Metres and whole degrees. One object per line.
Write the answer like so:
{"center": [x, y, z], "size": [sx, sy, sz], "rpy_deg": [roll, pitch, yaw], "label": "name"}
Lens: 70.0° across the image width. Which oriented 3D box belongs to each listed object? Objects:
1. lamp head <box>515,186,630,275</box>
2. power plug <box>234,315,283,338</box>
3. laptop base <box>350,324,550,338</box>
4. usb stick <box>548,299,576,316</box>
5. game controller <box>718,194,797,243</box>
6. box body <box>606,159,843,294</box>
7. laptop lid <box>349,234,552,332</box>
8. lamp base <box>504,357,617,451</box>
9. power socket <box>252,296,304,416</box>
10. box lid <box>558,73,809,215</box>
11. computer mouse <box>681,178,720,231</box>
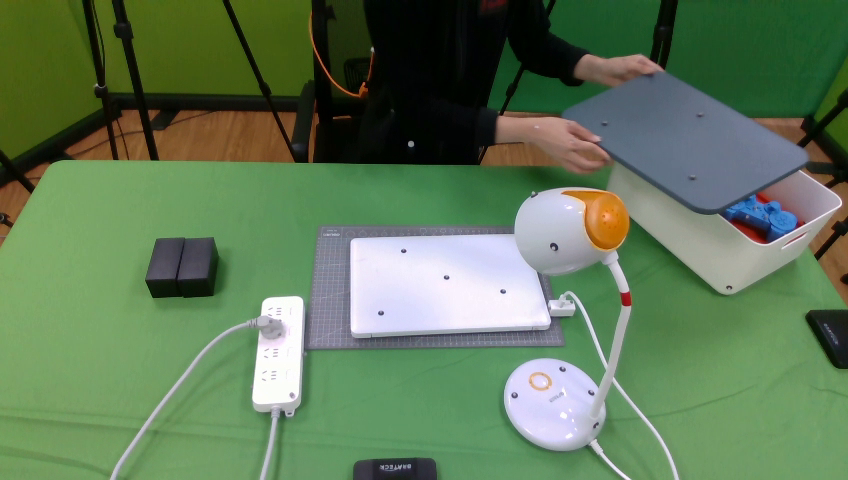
{"center": [0.188, -0.013, 0.728], "size": [0.112, 0.112, 0.122], "rpy_deg": [-25, 9, -25], "label": "lamp head"}
{"center": [-0.269, 0.143, 1.000], "size": [0.072, 0.053, 0.035], "rpy_deg": [4, 47, 3], "label": "power plug"}
{"center": [0.039, 0.082, 1.125], "size": [0.355, 0.023, 0.234], "rpy_deg": [-2, 43, -6], "label": "laptop base"}
{"center": [0.240, 0.121, 1.084], "size": [0.059, 0.027, 0.021], "rpy_deg": [-2, 51, -1], "label": "usb stick"}
{"center": [0.646, -0.057, 1.183], "size": [0.154, 0.052, 0.097], "rpy_deg": [27, 54, 20], "label": "game controller"}
{"center": [0.582, -0.088, 1.230], "size": [0.254, 0.161, 0.361], "rpy_deg": [-22, 52, -23], "label": "box body"}
{"center": [0.040, 0.071, 1.118], "size": [0.357, 0.013, 0.240], "rpy_deg": [0, 44, -5], "label": "laptop lid"}
{"center": [0.220, 0.211, 0.903], "size": [0.160, 0.181, 0.178], "rpy_deg": [-33, 59, -30], "label": "lamp base"}
{"center": [-0.238, 0.181, 0.997], "size": [0.072, 0.033, 0.225], "rpy_deg": [-3, 47, -5], "label": "power socket"}
{"center": [0.449, -0.186, 1.082], "size": [0.263, 0.015, 0.369], "rpy_deg": [-25, 47, -18], "label": "box lid"}
{"center": [0.596, -0.078, 1.290], "size": [0.117, 0.041, 0.063], "rpy_deg": [56, 46, -7], "label": "computer mouse"}
